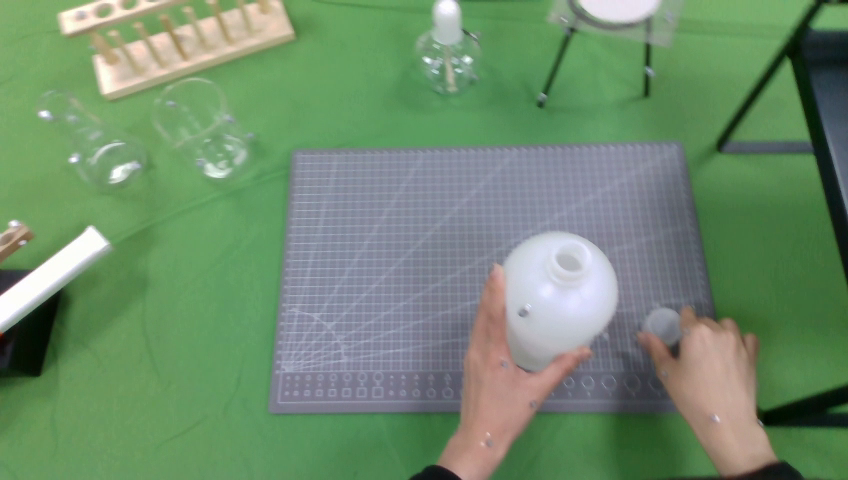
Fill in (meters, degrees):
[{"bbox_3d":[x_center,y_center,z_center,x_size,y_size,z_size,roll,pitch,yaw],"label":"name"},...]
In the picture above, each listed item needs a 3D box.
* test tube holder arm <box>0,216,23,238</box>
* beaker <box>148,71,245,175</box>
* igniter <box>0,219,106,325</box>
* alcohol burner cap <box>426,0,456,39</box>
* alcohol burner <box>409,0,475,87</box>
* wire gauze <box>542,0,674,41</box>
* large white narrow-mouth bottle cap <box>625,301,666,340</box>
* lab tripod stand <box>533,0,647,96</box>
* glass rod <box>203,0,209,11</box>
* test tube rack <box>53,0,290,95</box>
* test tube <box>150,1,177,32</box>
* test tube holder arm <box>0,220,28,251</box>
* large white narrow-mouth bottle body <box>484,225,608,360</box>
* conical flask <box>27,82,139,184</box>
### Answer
[{"bbox_3d":[-0.476,0.040,0.596,0.013,0.015,0.178,42,74,16],"label":"test tube holder arm"},{"bbox_3d":[-0.244,-0.120,0.661,0.074,0.101,0.083,13,70,8],"label":"beaker"},{"bbox_3d":[-0.430,0.081,0.576,0.057,0.025,0.276,42,72,14],"label":"igniter"},{"bbox_3d":[0.018,-0.246,0.656,0.034,0.048,0.033,0,67,1],"label":"alcohol burner cap"},{"bbox_3d":[0.021,-0.231,0.690,0.078,0.120,0.077,0,67,1],"label":"alcohol burner"},{"bbox_3d":[0.195,-0.261,0.612,0.121,0.011,0.124,20,71,7],"label":"wire gauze"},{"bbox_3d":[0.223,0.081,0.607,0.038,0.024,0.037,-1,70,2],"label":"large white narrow-mouth bottle cap"},{"bbox_3d":[0.190,-0.234,0.674,0.148,0.132,0.147,0,67,1],"label":"lab tripod stand"},{"bbox_3d":[-0.275,-0.322,0.678,0.008,0.201,0.008,-4,62,7],"label":"glass rod"},{"bbox_3d":[-0.295,-0.264,0.727,0.242,0.086,0.066,-21,69,-7],"label":"test tube rack"},{"bbox_3d":[-0.319,-0.294,0.686,0.017,0.151,0.017,-2,65,5],"label":"test tube"},{"bbox_3d":[-0.440,0.014,0.606,0.088,0.015,0.010,-43,73,-15],"label":"test tube holder arm"},{"bbox_3d":[0.107,0.042,0.533,0.102,0.196,0.101,-1,70,3],"label":"large white narrow-mouth bottle body"},{"bbox_3d":[-0.370,-0.118,0.652,0.075,0.123,0.075,-1,68,2],"label":"conical flask"}]
